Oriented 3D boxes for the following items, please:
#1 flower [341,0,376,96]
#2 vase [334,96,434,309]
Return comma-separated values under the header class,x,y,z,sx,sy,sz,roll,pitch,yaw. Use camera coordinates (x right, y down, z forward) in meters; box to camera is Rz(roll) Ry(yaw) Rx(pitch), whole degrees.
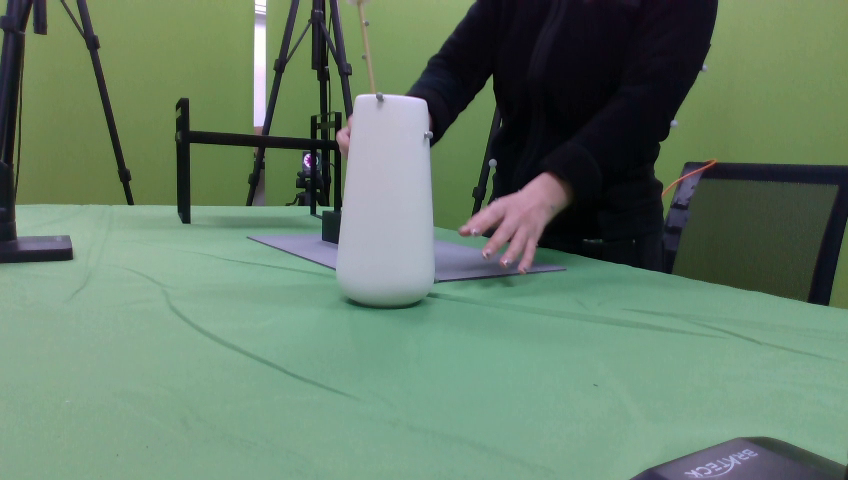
class,x,y,z,sx,sy,sz,roll,pitch,yaw
flower,-0.048,-0.119,0.591,0.044,0.361,0.038,-8,-7,-21
vase,-0.039,-0.036,0.590,0.098,0.200,0.098,1,8,0
